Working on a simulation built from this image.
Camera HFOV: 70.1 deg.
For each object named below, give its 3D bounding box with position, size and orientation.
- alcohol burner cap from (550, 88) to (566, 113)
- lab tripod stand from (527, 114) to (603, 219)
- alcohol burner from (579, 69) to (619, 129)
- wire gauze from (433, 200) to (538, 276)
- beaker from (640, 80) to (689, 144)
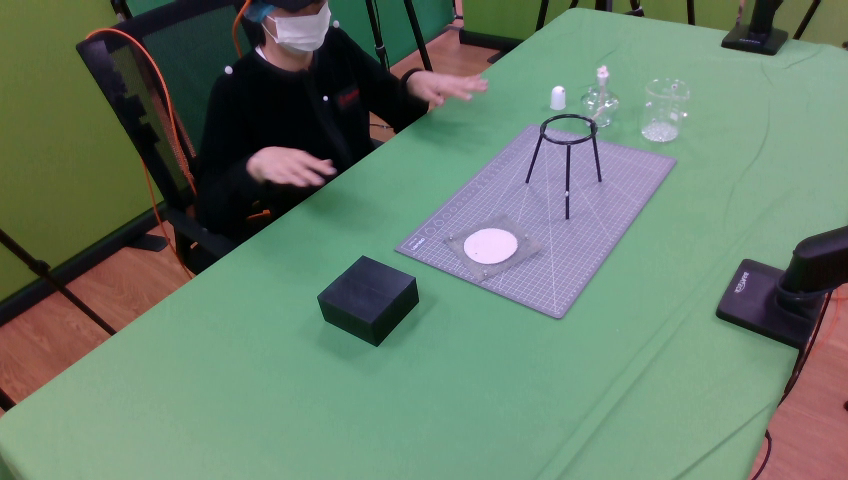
[{"bbox_3d":[0.282,-0.296,1.270,0.034,0.048,0.033,-4,41,4],"label":"alcohol burner cap"},{"bbox_3d":[0.234,-0.129,1.002,0.148,0.132,0.147,-6,40,6],"label":"lab tripod stand"},{"bbox_3d":[0.345,-0.280,1.184,0.078,0.119,0.077,-4,42,4],"label":"alcohol burner"},{"bbox_3d":[0.096,-0.004,0.949,0.120,0.011,0.125,29,58,33],"label":"wire gauze"},{"bbox_3d":[0.446,-0.235,1.126,0.074,0.101,0.083,-34,47,-27],"label":"beaker"}]
